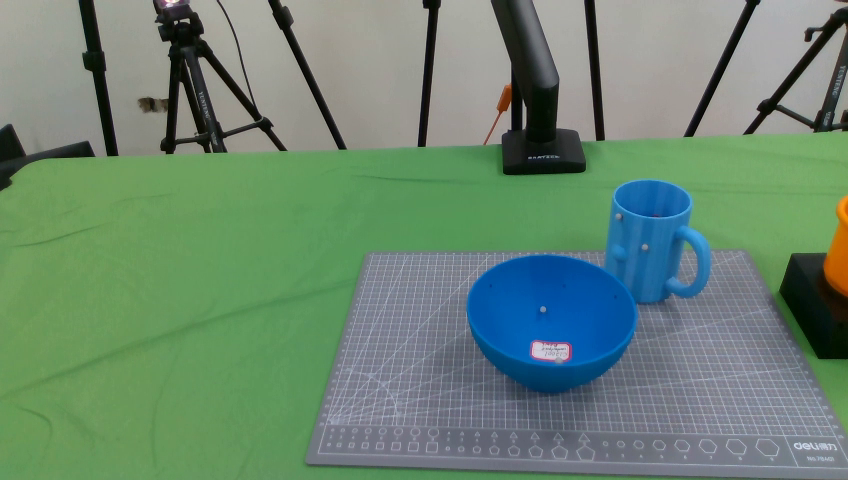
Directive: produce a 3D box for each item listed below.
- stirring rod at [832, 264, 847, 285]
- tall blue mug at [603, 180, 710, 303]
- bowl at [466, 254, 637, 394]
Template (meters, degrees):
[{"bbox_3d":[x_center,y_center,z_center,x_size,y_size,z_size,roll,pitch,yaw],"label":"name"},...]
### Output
[{"bbox_3d":[0.444,-0.019,0.536,0.176,0.006,0.014,-44,32,20],"label":"stirring rod"},{"bbox_3d":[0.246,0.006,0.634,0.106,0.109,0.077,15,40,26],"label":"tall blue mug"},{"bbox_3d":[0.115,0.088,0.563,0.151,0.077,0.150,-3,36,3],"label":"bowl"}]
